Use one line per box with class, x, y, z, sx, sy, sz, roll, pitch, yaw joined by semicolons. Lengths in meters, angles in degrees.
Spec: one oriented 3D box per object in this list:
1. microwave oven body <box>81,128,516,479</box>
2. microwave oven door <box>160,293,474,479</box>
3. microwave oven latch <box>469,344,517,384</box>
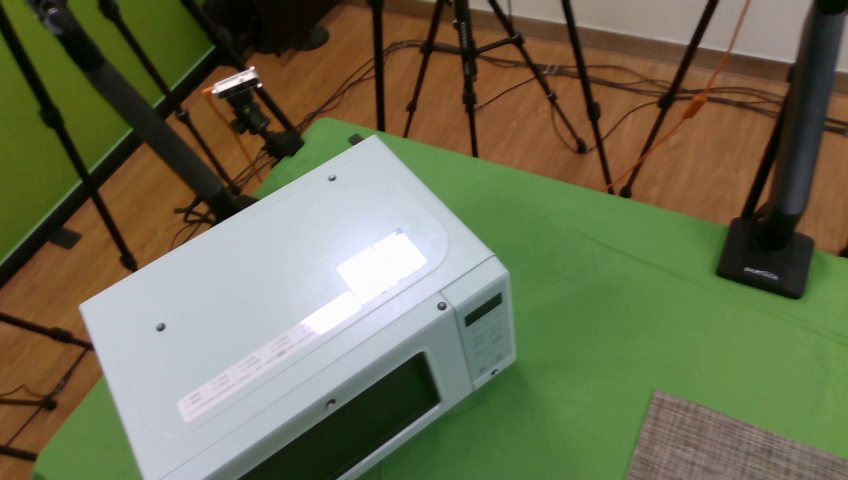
microwave oven body;-0.148;0.114;0.814;0.442;0.263;0.322;-34;56;-13
microwave oven door;-0.103;0.223;0.720;0.356;0.246;0.039;-33;55;-13
microwave oven latch;0.094;0.167;0.851;0.079;0.030;0.030;-32;56;-12
